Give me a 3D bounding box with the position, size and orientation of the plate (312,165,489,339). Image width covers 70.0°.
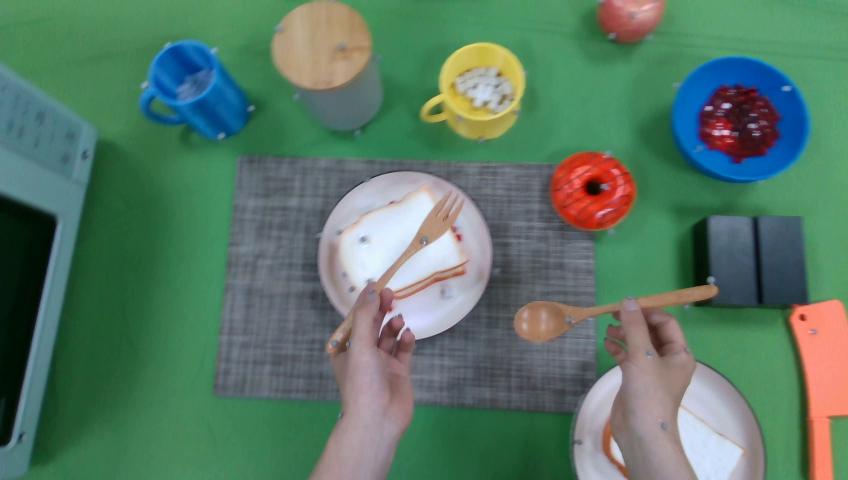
[{"bbox_3d":[-0.027,0.014,0.724,0.207,0.039,0.206,-1,79,3],"label":"plate"}]

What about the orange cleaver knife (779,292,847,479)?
[{"bbox_3d":[0.447,0.162,0.685,0.077,0.012,0.210,4,78,-3],"label":"orange cleaver knife"}]

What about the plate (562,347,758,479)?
[{"bbox_3d":[0.256,0.224,0.672,0.209,0.038,0.208,-1,79,3],"label":"plate"}]

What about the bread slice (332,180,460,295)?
[{"bbox_3d":[-0.037,0.007,0.700,0.134,0.018,0.106,-29,76,-4],"label":"bread slice"}]

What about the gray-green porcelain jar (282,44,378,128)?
[{"bbox_3d":[-0.113,-0.201,0.729,0.106,0.127,0.105,-1,78,3],"label":"gray-green porcelain jar"}]

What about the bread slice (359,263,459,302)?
[{"bbox_3d":[-0.036,0.016,0.727,0.131,0.019,0.104,-25,79,-4],"label":"bread slice"}]

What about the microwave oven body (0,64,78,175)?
[{"bbox_3d":[-0.610,0.025,0.635,0.326,0.261,0.440,5,79,3],"label":"microwave oven body"}]

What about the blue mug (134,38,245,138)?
[{"bbox_3d":[-0.293,-0.177,0.743,0.116,0.106,0.082,-23,78,-2],"label":"blue mug"}]

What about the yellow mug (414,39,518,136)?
[{"bbox_3d":[0.049,-0.181,0.749,0.131,0.064,0.099,-22,79,-1],"label":"yellow mug"}]

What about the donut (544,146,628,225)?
[{"bbox_3d":[0.193,-0.065,0.726,0.099,0.048,0.098,-1,79,3],"label":"donut"}]

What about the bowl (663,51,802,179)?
[{"bbox_3d":[0.351,-0.136,0.719,0.151,0.077,0.150,-1,79,3],"label":"bowl"}]

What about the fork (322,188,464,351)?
[{"bbox_3d":[-0.029,0.026,0.591,0.028,0.019,0.207,35,70,17],"label":"fork"}]

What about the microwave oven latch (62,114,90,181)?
[{"bbox_3d":[-0.441,-0.116,0.754,0.030,0.029,0.079,8,80,4],"label":"microwave oven latch"}]

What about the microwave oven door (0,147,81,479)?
[{"bbox_3d":[-0.469,0.077,0.613,0.039,0.245,0.354,4,79,4],"label":"microwave oven door"}]

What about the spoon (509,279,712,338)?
[{"bbox_3d":[0.173,0.063,0.582,0.193,0.022,0.041,-15,72,31],"label":"spoon"}]

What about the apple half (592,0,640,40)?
[{"bbox_3d":[0.230,-0.278,0.753,0.033,0.081,0.081,-31,78,-8],"label":"apple half"}]

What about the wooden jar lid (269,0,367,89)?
[{"bbox_3d":[-0.116,-0.214,0.668,0.108,0.021,0.108,-1,77,3],"label":"wooden jar lid"}]

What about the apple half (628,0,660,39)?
[{"bbox_3d":[0.263,-0.299,0.758,0.053,0.075,0.080,-30,75,-9],"label":"apple half"}]
